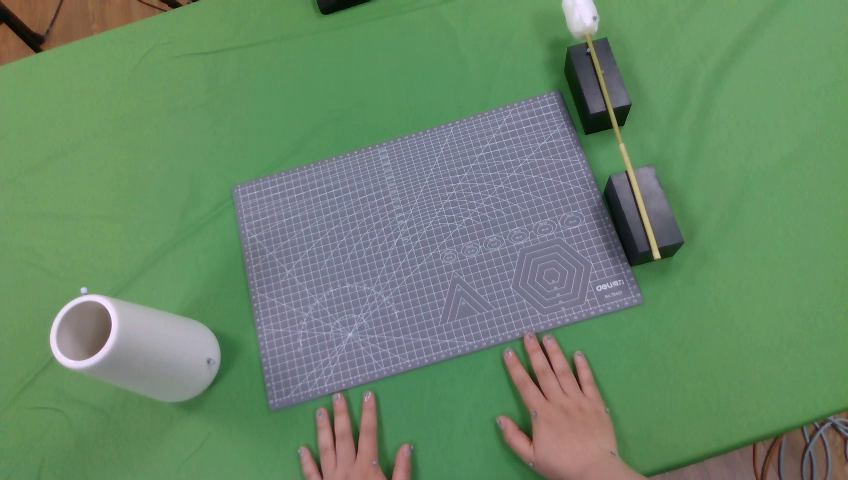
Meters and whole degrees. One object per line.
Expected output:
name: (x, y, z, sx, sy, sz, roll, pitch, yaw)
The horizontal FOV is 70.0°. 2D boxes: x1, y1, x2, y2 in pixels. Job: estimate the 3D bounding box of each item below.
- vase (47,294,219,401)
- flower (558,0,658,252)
vase: (-0.298, 0.114, 0.642, 0.098, 0.201, 0.097, -2, 70, 5)
flower: (0.219, -0.150, 0.714, 0.044, 0.038, 0.358, 2, 65, -25)
